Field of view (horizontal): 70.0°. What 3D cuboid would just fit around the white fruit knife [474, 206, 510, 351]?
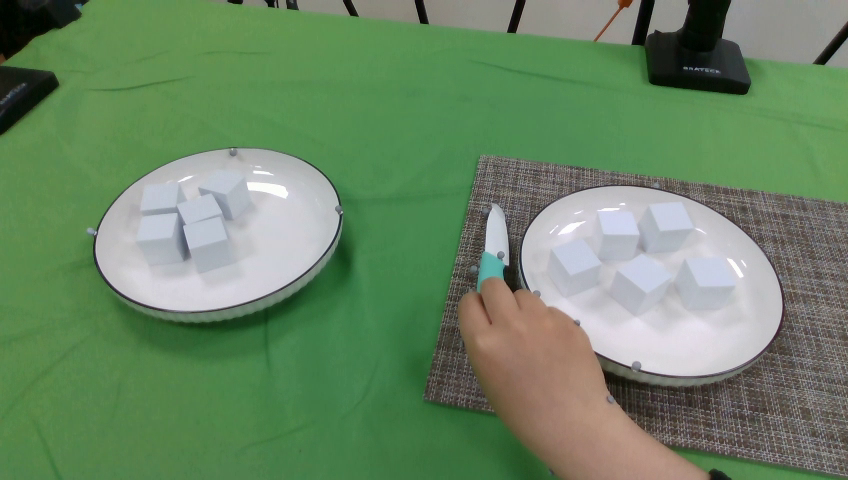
[{"bbox_3d":[0.057,0.020,0.507,0.027,0.016,0.206,17,30,-3],"label":"white fruit knife"}]

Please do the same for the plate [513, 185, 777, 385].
[{"bbox_3d":[0.177,0.034,0.506,0.208,0.039,0.205,1,46,0],"label":"plate"}]

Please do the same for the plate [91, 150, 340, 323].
[{"bbox_3d":[-0.178,-0.005,0.540,0.209,0.038,0.207,1,45,-1],"label":"plate"}]
